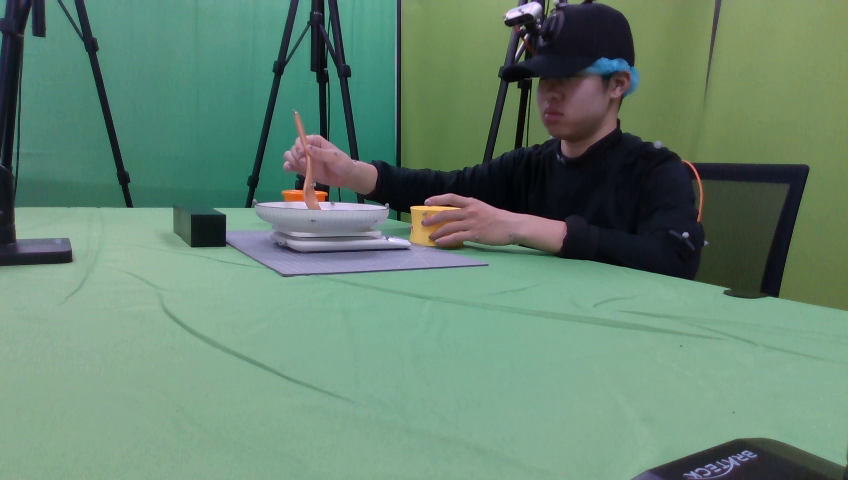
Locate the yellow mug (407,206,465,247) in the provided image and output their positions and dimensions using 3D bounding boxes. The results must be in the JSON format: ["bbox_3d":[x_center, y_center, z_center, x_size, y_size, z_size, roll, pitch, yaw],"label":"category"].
[{"bbox_3d":[0.027,-0.027,1.104,0.099,0.064,0.131,6,7,20],"label":"yellow mug"}]

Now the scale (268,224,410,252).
[{"bbox_3d":[-0.138,-0.006,0.980,0.202,0.031,0.148,-1,8,-30],"label":"scale"}]

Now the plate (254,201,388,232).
[{"bbox_3d":[-0.161,-0.037,0.961,0.209,0.038,0.209,2,6,0],"label":"plate"}]

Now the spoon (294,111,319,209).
[{"bbox_3d":[-0.198,-0.130,1.015,0.021,0.193,0.042,-15,-16,21],"label":"spoon"}]
